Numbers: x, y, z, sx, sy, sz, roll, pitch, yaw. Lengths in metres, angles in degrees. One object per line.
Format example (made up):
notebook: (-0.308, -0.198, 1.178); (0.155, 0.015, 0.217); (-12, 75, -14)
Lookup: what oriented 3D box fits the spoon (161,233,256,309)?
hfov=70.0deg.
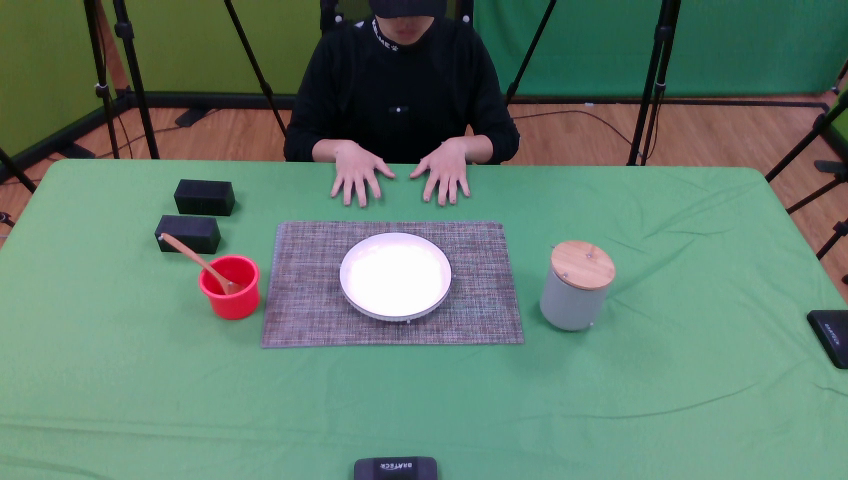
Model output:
spoon: (-0.366, 0.051, 1.036); (0.194, 0.021, 0.041); (47, 45, -21)

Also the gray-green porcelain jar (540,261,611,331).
gray-green porcelain jar: (0.262, 0.088, 1.058); (0.106, 0.127, 0.105); (2, 46, -2)

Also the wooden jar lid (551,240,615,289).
wooden jar lid: (0.263, 0.044, 1.011); (0.108, 0.021, 0.107); (4, 45, -4)

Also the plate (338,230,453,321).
plate: (-0.052, 0.068, 1.111); (0.208, 0.039, 0.206); (2, 46, -2)
